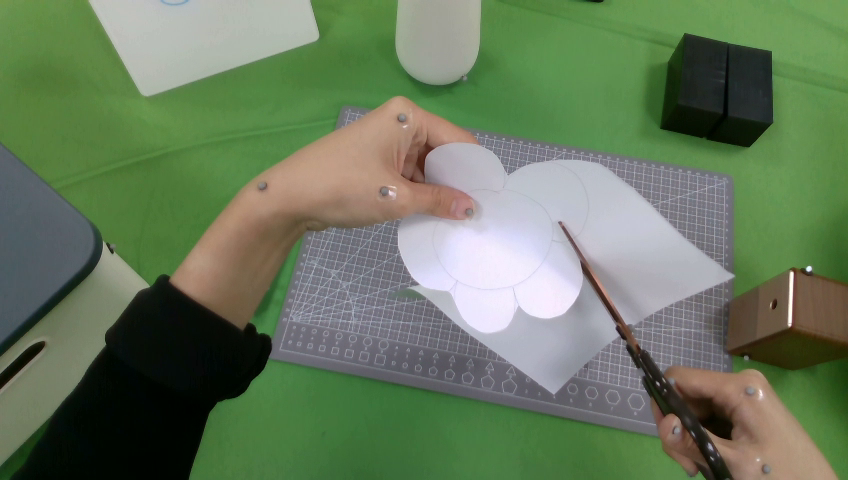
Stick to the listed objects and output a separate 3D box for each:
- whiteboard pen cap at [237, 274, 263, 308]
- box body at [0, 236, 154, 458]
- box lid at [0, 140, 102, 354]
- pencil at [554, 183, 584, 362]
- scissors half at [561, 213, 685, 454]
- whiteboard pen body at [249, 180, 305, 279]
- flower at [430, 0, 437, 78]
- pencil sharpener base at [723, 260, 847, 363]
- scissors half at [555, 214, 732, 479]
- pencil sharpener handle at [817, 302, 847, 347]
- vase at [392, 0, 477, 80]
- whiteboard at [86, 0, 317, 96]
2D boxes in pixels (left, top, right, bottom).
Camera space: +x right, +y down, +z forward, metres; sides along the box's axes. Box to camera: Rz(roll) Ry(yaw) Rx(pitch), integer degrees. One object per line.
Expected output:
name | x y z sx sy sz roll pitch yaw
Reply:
whiteboard pen cap | -0.172 0.050 0.603 0.018 0.018 0.033 16 65 5
box body | -0.462 0.015 0.531 0.362 0.161 0.253 36 72 11
box lid | -0.462 -0.014 0.463 0.370 0.015 0.262 36 71 11
pencil | 0.151 0.030 0.629 0.012 0.012 0.192 -2 71 -3
scissors half | 0.121 0.058 0.363 0.013 0.040 0.176 -30 107 4
whiteboard pen body | -0.155 -0.001 0.626 0.017 0.017 0.140 17 67 5
flower | 0.010 -0.306 0.566 0.044 0.365 0.038 4 50 3
pencil sharpener base | 0.344 0.071 0.568 0.077 0.107 0.061 15 68 1
scissors half | 0.121 0.059 0.340 0.013 0.040 0.174 -30 80 -1
pencil sharpener handle | 0.394 0.081 0.556 0.030 0.068 0.035 15 63 1
vase | 0.012 -0.262 0.638 0.098 0.201 0.097 0 67 0
whiteboard | -0.270 -0.349 0.637 0.217 0.308 0.142 -22 51 -10
